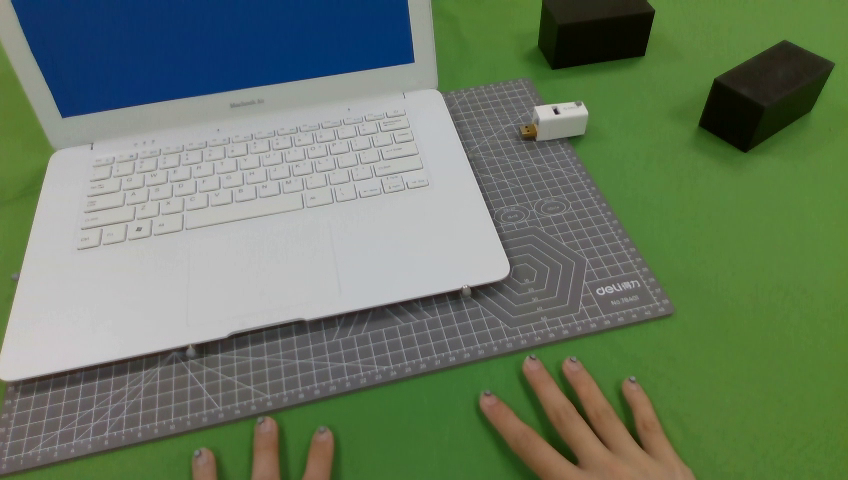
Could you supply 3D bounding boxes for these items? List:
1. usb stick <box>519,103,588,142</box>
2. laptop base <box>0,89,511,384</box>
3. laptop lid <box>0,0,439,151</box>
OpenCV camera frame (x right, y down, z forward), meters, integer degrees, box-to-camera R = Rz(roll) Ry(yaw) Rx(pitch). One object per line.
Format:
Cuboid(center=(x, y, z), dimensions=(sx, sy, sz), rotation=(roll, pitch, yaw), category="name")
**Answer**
Cuboid(center=(0.114, -0.104, 0.541), dimensions=(0.059, 0.027, 0.021), rotation=(-10, 48, -2), category="usb stick")
Cuboid(center=(-0.131, -0.021, 0.490), dimensions=(0.355, 0.023, 0.233), rotation=(-11, 53, -7), category="laptop base")
Cuboid(center=(-0.168, -0.204, 0.498), dimensions=(0.357, 0.244, 0.013), rotation=(-12, 35, -6), category="laptop lid")
